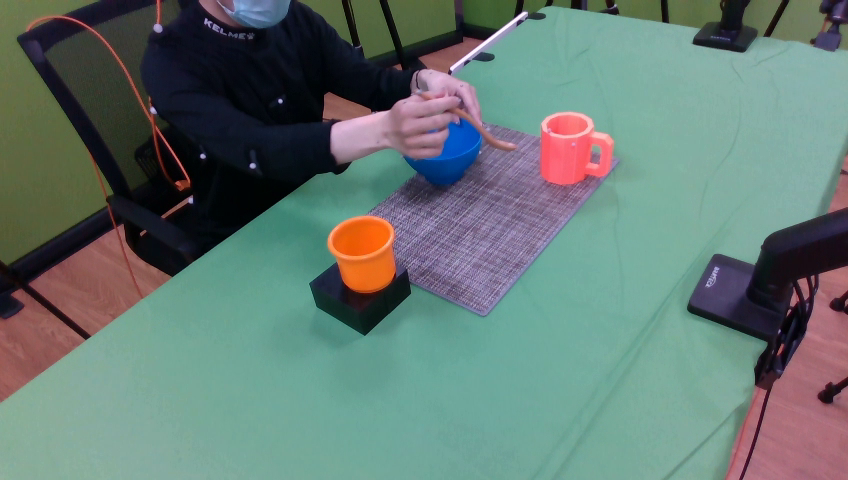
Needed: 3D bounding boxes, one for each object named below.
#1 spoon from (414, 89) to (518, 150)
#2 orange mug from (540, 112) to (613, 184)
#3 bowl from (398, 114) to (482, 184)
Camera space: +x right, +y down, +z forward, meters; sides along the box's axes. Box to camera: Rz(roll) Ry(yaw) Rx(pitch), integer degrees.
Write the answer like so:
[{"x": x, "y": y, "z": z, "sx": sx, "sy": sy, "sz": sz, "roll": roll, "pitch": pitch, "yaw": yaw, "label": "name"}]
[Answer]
[{"x": 0.064, "y": -0.176, "z": 0.885, "sx": 0.021, "sy": 0.195, "sz": 0.041, "roll": -59, "pitch": 32, "yaw": 8, "label": "spoon"}, {"x": 0.263, "y": -0.157, "z": 1.050, "sx": 0.125, "sy": 0.101, "sz": 0.083, "roll": 14, "pitch": 45, "yaw": 29, "label": "orange mug"}, {"x": 0.032, "y": -0.155, "z": 1.097, "sx": 0.151, "sy": 0.077, "sz": 0.150, "roll": -4, "pitch": 41, "yaw": 4, "label": "bowl"}]
